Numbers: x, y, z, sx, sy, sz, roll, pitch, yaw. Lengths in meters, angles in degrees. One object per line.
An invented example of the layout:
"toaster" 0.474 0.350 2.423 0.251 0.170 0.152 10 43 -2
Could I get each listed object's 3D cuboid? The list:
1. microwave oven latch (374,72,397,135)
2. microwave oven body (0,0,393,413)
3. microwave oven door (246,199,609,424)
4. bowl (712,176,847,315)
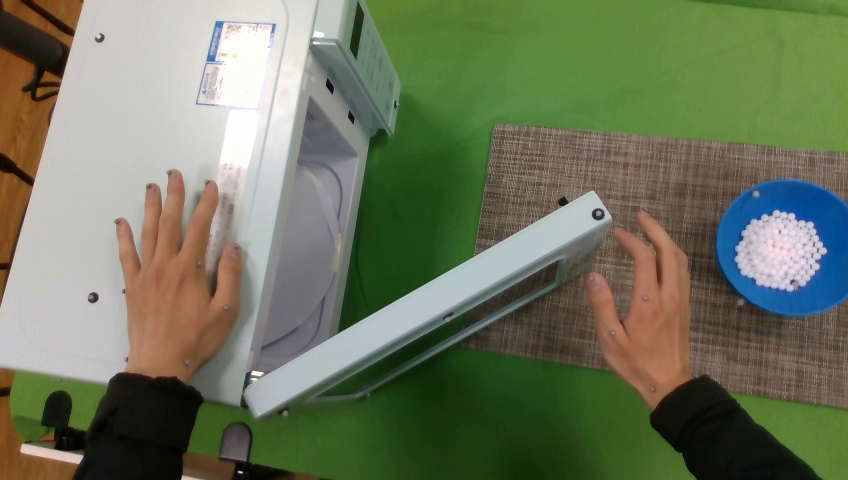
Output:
"microwave oven latch" -0.054 -0.183 0.809 0.030 0.029 0.079 5 80 11
"microwave oven body" -0.240 -0.046 0.712 0.325 0.261 0.440 5 79 11
"microwave oven door" 0.020 0.086 0.632 0.356 0.245 0.039 -30 73 3
"bowl" 0.394 0.013 0.679 0.151 0.077 0.150 -2 78 10
